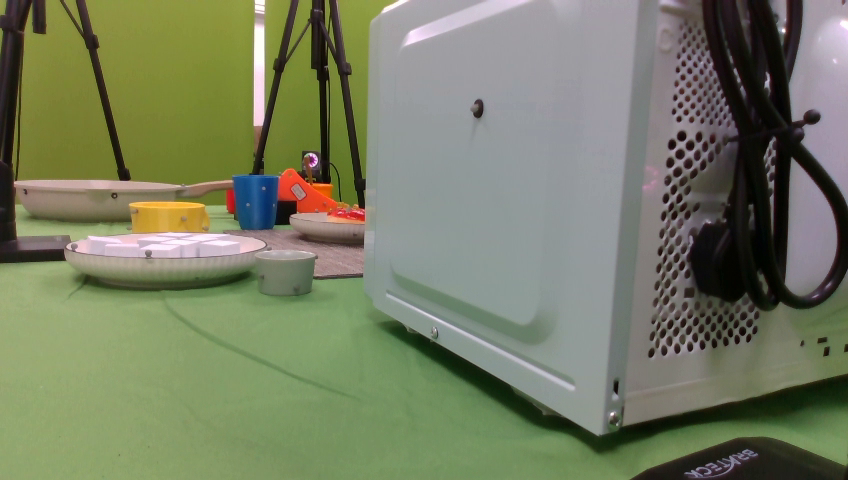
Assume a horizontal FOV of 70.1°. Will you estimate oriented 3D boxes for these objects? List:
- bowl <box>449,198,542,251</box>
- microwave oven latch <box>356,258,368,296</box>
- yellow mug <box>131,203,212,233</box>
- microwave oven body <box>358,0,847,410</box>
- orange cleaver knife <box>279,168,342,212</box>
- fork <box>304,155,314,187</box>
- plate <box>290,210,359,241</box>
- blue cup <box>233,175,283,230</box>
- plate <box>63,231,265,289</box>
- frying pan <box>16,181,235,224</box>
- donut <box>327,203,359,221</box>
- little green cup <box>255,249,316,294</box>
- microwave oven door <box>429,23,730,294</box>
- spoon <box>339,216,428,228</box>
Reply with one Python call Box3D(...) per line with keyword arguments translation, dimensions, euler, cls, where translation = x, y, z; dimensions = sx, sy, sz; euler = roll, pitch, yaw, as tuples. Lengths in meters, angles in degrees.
Box3D(translation=(0.114, -0.026, 0.988), dimensions=(0.151, 0.077, 0.151), euler=(2, 8, 0), cls="bowl")
Box3D(translation=(-0.019, 0.031, 0.528), dimensions=(0.079, 0.029, 0.030), euler=(-1, 7, -25), cls="microwave oven latch")
Box3D(translation=(-0.356, -0.020, 0.878), dimensions=(0.099, 0.064, 0.131), euler=(4, 7, 22), cls="yellow mug")
Box3D(translation=(0.210, -0.051, 0.471), dimensions=(0.444, 0.260, 0.324), euler=(-1, 7, -28), cls="microwave oven body")
Box3D(translation=(-0.236, -0.084, 1.333), dimensions=(0.212, 0.077, 0.012), euler=(31, -10, -32), cls="orange cleaver knife")
Box3D(translation=(-0.268, -0.134, 1.446), dimensions=(0.028, 0.018, 0.207), euler=(2, -36, -1), cls="fork")
Box3D(translation=(-0.127, -0.025, 1.051), dimensions=(0.209, 0.038, 0.209), euler=(2, 7, 0), cls="plate")
Box3D(translation=(-0.314, -0.071, 1.141), dimensions=(0.093, 0.100, 0.092), euler=(0, 7, 0), cls="blue cup")
Box3D(translation=(-0.288, 0.021, 0.687), dimensions=(0.208, 0.039, 0.207), euler=(2, 8, 0), cls="plate")
Box3D(translation=(-0.553, -0.096, 1.265), dimensions=(0.490, 0.102, 0.305), euler=(-10, 13, -24), cls="frying pan")
Box3D(translation=(-0.120, -0.037, 1.056), dimensions=(0.099, 0.048, 0.099), euler=(5, 7, 0), cls="donut")
Box3D(translation=(-0.144, 0.032, 0.626), dimensions=(0.061, 0.038, 0.061), euler=(4, 7, 0), cls="little green cup")
Box3D(translation=(0.177, -0.077, 0.626), dimensions=(0.357, 0.243, 0.039), euler=(-2, 8, -25), cls="microwave oven door")
Box3D(translation=(-0.087, -0.041, 1.268), dimensions=(0.193, 0.021, 0.041), euler=(4, 27, 13), cls="spoon")
